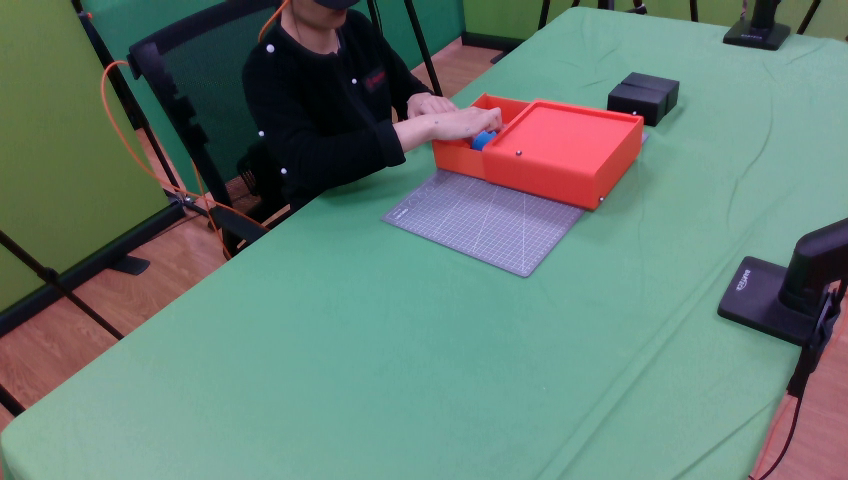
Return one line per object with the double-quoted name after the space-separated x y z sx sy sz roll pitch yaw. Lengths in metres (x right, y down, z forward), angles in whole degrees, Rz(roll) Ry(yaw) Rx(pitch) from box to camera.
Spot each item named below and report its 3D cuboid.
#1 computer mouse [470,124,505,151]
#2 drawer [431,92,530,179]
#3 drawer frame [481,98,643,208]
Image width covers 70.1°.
0.140 -0.194 1.160 0.062 0.041 0.117 18 43 36 "computer mouse"
0.153 -0.191 1.132 0.210 0.073 0.195 19 47 32 "drawer"
0.244 -0.161 1.070 0.212 0.083 0.202 19 47 31 "drawer frame"
